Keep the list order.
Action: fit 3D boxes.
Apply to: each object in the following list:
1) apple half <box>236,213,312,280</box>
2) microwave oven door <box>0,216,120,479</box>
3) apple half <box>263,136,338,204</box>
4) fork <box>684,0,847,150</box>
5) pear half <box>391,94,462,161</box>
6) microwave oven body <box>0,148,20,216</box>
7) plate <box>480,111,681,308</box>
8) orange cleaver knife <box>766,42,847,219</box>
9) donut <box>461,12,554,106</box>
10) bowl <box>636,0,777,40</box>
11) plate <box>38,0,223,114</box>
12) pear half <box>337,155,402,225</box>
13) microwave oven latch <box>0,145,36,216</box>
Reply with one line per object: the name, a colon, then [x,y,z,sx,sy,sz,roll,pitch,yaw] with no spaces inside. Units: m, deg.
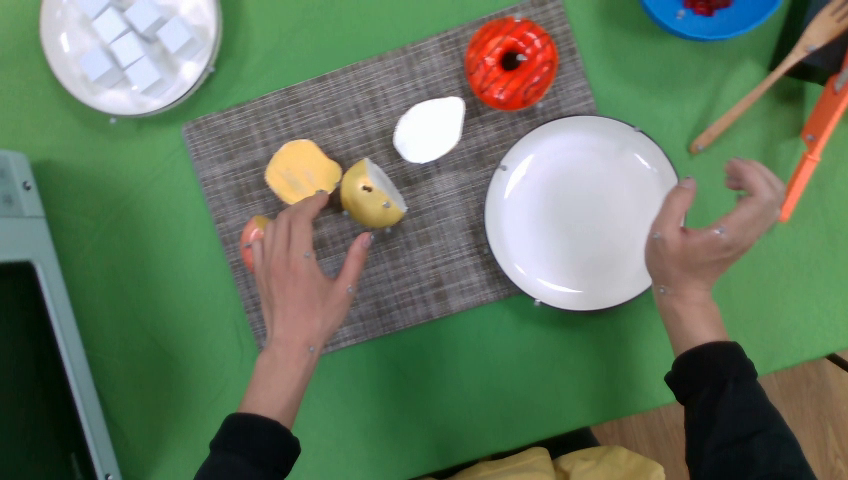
apple half: [-0.168,0.014,0.660,0.081,0.074,0.053,36,99,-2]
microwave oven door: [-0.419,0.150,0.588,0.039,0.244,0.355,-16,91,5]
apple half: [-0.138,-0.071,0.670,0.081,0.033,0.081,3,71,-8]
fork: [0.345,-0.167,0.608,0.028,0.018,0.208,40,115,-6]
pear half: [0.007,-0.121,0.660,0.088,0.031,0.070,-42,76,-4]
microwave oven body: [-0.570,0.147,0.604,0.326,0.260,0.441,-15,92,5]
plate: [0.164,-0.032,0.650,0.209,0.038,0.209,0,93,4]
orange cleaver knife: [0.397,-0.123,0.609,0.012,0.077,0.212,19,119,9]
donut: [0.088,-0.192,0.645,0.099,0.048,0.099,0,94,7]
bowl: [0.277,-0.271,0.613,0.151,0.077,0.151,0,93,4]
plate: [-0.324,-0.244,0.681,0.207,0.039,0.207,0,93,4]
pear half: [-0.064,-0.047,0.631,0.056,0.110,0.076,-41,85,5]
microwave oven latch: [-0.467,-0.066,0.682,0.030,0.029,0.079,-13,92,4]
